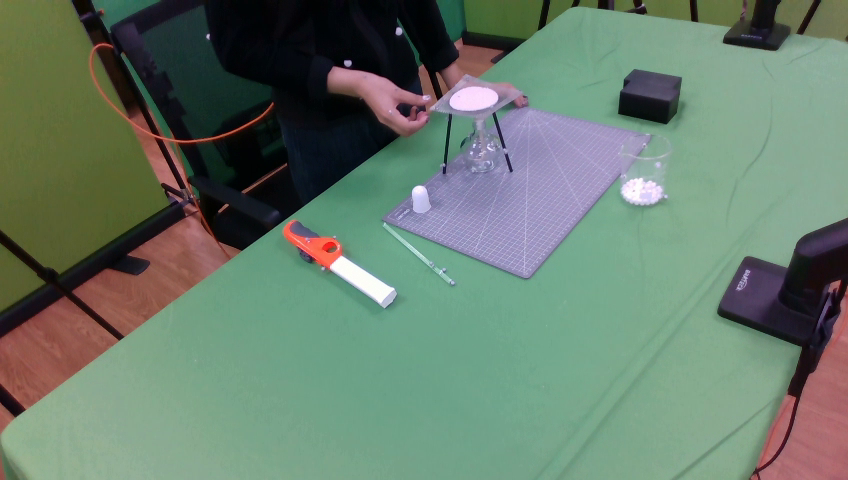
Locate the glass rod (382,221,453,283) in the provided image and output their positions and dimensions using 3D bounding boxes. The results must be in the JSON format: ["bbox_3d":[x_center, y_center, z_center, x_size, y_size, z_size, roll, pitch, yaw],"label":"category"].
[{"bbox_3d":[-0.014,0.016,0.976,0.008,0.008,0.198,-29,44,-22],"label":"glass rod"}]

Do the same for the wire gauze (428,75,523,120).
[{"bbox_3d":[0.090,-0.250,1.062,0.120,0.011,0.125,23,50,30],"label":"wire gauze"}]

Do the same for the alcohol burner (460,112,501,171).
[{"bbox_3d":[0.103,-0.186,1.106,0.078,0.119,0.077,-4,42,4],"label":"alcohol burner"}]

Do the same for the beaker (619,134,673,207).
[{"bbox_3d":[0.357,-0.111,0.986,0.084,0.101,0.073,-10,40,1],"label":"beaker"}]

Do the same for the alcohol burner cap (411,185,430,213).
[{"bbox_3d":[-0.008,-0.074,1.050,0.034,0.048,0.033,-4,40,4],"label":"alcohol burner cap"}]

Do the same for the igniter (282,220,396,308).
[{"bbox_3d":[-0.146,0.032,0.966,0.274,0.025,0.057,30,64,37],"label":"igniter"}]

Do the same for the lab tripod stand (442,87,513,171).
[{"bbox_3d":[0.097,-0.200,1.107,0.148,0.132,0.147,-4,40,4],"label":"lab tripod stand"}]
